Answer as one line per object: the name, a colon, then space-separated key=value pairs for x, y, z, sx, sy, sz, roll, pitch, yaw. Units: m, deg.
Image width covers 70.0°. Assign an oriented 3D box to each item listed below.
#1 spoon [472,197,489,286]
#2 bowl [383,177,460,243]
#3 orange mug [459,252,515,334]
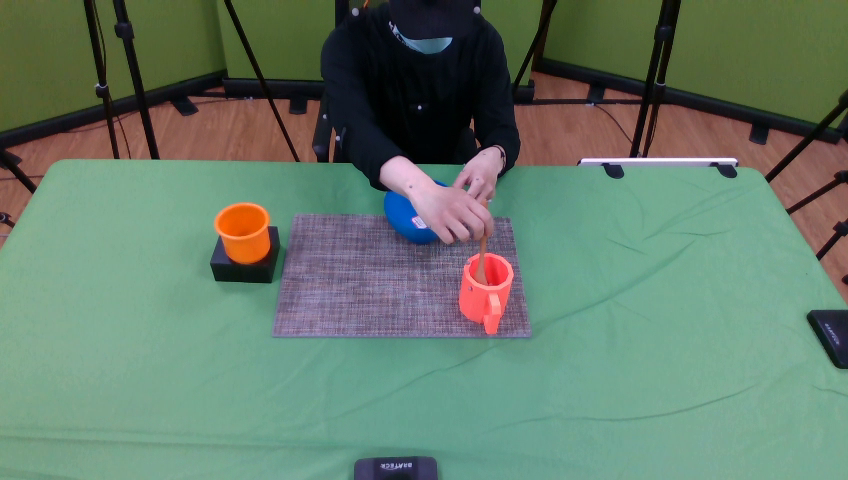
spoon: x=0.097 y=0.020 z=1.019 sx=0.041 sy=0.194 sz=0.021 roll=14 pitch=20 yaw=32
bowl: x=-0.006 y=-0.047 z=1.197 sx=0.151 sy=0.077 sz=0.150 roll=2 pitch=46 yaw=-2
orange mug: x=0.112 y=0.096 z=1.052 sx=0.083 sy=0.101 sz=0.125 roll=-4 pitch=42 yaw=-7
